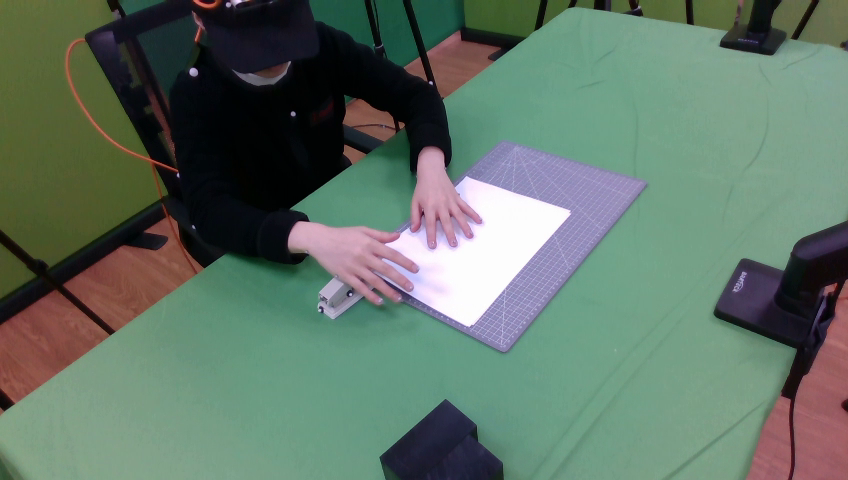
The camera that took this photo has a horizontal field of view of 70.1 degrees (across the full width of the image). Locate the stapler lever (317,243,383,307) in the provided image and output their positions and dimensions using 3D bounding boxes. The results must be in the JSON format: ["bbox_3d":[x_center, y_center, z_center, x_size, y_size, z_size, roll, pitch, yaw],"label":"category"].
[{"bbox_3d":[-0.108,0.049,0.891,0.026,0.040,0.118,27,54,37],"label":"stapler lever"}]

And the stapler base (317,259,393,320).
[{"bbox_3d":[-0.104,0.066,0.908,0.041,0.024,0.131,27,55,37],"label":"stapler base"}]
